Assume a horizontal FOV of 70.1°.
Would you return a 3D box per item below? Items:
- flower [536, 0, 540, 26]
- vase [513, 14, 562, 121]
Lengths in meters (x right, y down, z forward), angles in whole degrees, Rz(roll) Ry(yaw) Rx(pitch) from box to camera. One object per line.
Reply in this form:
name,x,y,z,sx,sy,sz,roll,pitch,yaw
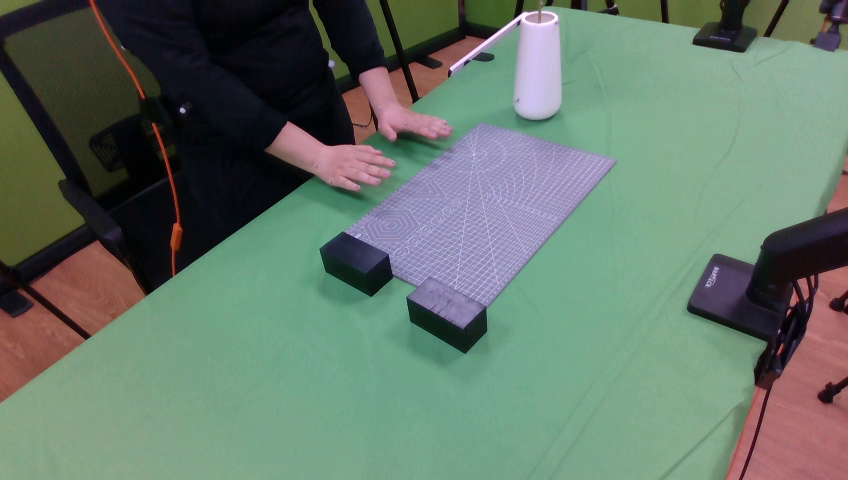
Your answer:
flower,0.214,-0.386,1.130,0.044,0.363,0.038,10,62,14
vase,0.225,-0.336,1.196,0.098,0.201,0.097,-5,42,5
